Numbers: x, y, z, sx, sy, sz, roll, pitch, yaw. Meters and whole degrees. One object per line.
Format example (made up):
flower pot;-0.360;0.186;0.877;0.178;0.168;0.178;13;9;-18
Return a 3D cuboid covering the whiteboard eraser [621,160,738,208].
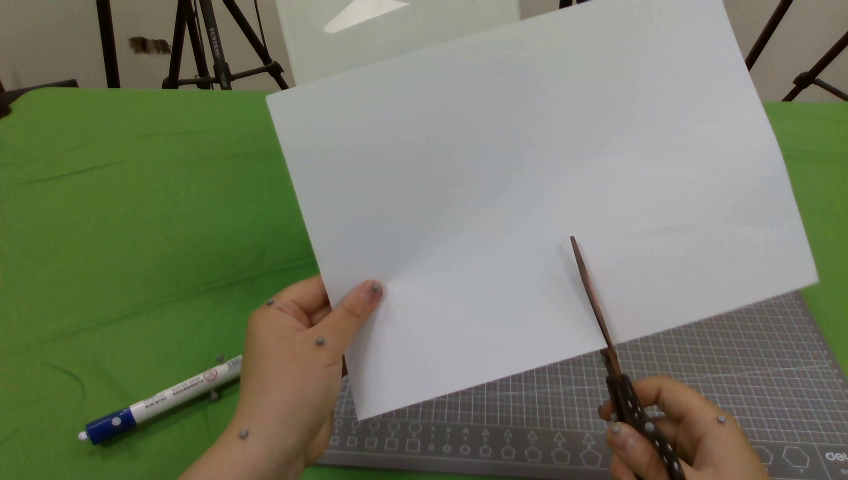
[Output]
whiteboard eraser;0.280;-0.062;0.670;0.113;0.042;0.055;1;41;1

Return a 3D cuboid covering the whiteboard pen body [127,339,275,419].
whiteboard pen body;-0.185;0.113;0.477;0.141;0.017;0.017;-23;44;-28

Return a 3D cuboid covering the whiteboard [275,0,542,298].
whiteboard;-0.024;-0.134;0.604;0.218;0.307;0.142;-16;21;-17

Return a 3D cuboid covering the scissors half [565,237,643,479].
scissors half;0.112;0.082;0.369;0.013;0.040;0.175;-15;85;-6

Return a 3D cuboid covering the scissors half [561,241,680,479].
scissors half;0.111;0.075;0.349;0.013;0.040;0.173;-17;62;-1

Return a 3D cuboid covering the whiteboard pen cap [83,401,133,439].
whiteboard pen cap;-0.233;0.132;0.451;0.033;0.018;0.018;-25;45;-27
